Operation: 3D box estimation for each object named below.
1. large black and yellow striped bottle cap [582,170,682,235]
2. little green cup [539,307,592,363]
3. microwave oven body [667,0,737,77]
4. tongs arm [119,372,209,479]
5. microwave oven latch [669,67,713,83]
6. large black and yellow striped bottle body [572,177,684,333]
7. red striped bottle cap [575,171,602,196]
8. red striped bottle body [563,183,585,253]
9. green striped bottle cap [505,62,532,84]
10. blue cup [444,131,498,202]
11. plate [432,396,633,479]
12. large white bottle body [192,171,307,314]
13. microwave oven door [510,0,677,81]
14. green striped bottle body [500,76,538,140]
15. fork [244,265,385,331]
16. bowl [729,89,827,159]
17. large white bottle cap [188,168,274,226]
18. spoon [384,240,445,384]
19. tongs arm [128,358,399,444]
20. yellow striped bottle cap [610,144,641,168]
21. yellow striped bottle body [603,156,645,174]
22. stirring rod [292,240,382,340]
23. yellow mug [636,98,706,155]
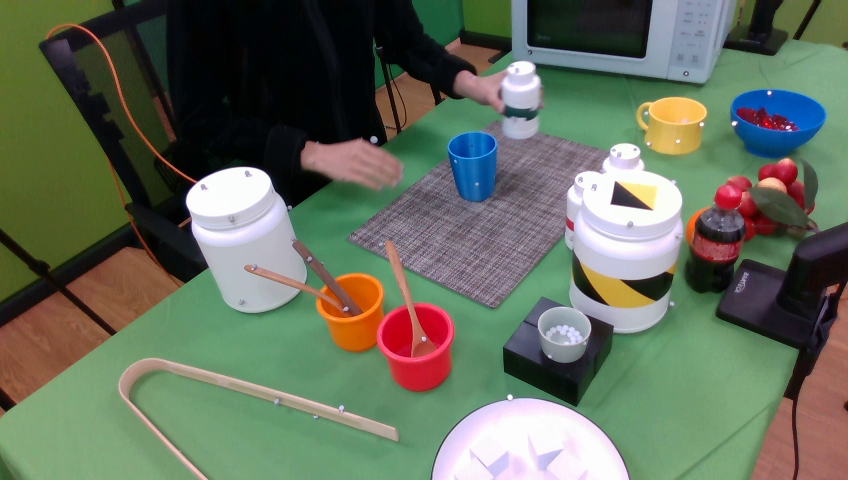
[{"bbox_3d":[0.252,-0.048,0.735,0.115,0.019,0.114,-3,40,3],"label":"large black and yellow striped bottle cap"},{"bbox_3d":[0.168,0.115,0.721,0.061,0.039,0.061,-4,42,4],"label":"little green cup"},{"bbox_3d":[0.462,-0.552,1.369,0.439,0.261,0.326,15,45,26],"label":"microwave oven body"},{"bbox_3d":[-0.258,0.257,0.700,0.384,0.028,0.028,24,55,34],"label":"tongs arm"},{"bbox_3d":[0.556,-0.348,1.261,0.078,0.029,0.030,16,46,27],"label":"microwave oven latch"},{"bbox_3d":[0.262,0.017,0.788,0.131,0.185,0.130,-5,40,4],"label":"large black and yellow striped bottle body"},{"bbox_3d":[0.242,-0.082,0.876,0.044,0.018,0.044,-5,44,5],"label":"red striped bottle cap"},{"bbox_3d":[0.246,-0.041,0.910,0.063,0.120,0.062,-2,38,2],"label":"red striped bottle body"},{"bbox_3d":[0.156,-0.273,0.992,0.044,0.020,0.044,-2,46,3],"label":"green striped bottle cap"},{"bbox_3d":[0.086,-0.122,1.040,0.092,0.100,0.092,-4,42,4],"label":"blue cup"},{"bbox_3d":[0.112,0.261,0.634,0.209,0.038,0.208,-5,40,4],"label":"plate"},{"bbox_3d":[-0.256,0.003,0.885,0.130,0.185,0.130,-5,40,4],"label":"large white bottle body"},{"bbox_3d":[0.354,-0.478,1.291,0.353,0.245,0.039,15,45,25],"label":"microwave oven door"},{"bbox_3d":[0.161,-0.235,1.027,0.063,0.120,0.063,-5,44,5],"label":"green striped bottle body"},{"bbox_3d":[-0.142,0.078,0.806,0.209,0.018,0.028,30,32,-24],"label":"fork"},{"bbox_3d":[0.615,-0.197,1.069,0.151,0.077,0.150,-5,40,5],"label":"bowl"},{"bbox_3d":[-0.264,-0.061,0.831,0.115,0.018,0.114,-4,40,4],"label":"large white bottle cap"},{"bbox_3d":[-0.016,0.090,0.776,0.042,0.021,0.193,-17,86,-10],"label":"spoon"},{"bbox_3d":[-0.213,0.205,0.755,0.382,0.026,0.051,12,46,23],"label":"tongs arm"},{"bbox_3d":[0.307,-0.128,0.923,0.044,0.019,0.044,-6,40,5],"label":"yellow striped bottle cap"},{"bbox_3d":[0.313,-0.089,0.956,0.063,0.121,0.062,-5,40,4],"label":"yellow striped bottle body"},{"bbox_3d":[-0.119,0.068,0.826,0.176,0.006,0.014,49,58,-4],"label":"stirring rod"},{"bbox_3d":[0.453,-0.217,1.129,0.100,0.064,0.129,-34,46,-27],"label":"yellow mug"}]
